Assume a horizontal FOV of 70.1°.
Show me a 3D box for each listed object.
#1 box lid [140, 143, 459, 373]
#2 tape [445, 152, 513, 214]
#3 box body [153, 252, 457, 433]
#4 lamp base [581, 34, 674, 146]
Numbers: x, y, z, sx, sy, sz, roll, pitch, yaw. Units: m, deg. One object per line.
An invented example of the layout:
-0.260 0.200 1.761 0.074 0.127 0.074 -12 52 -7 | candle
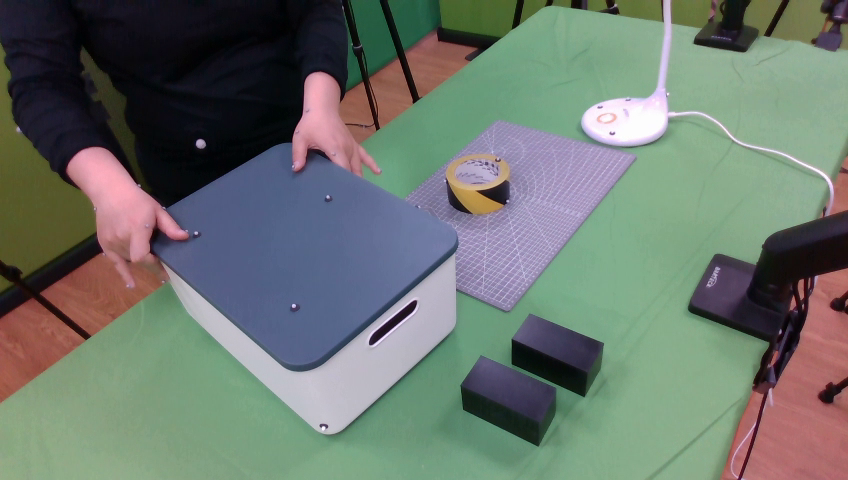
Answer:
-0.164 -0.004 0.766 0.368 0.015 0.264 29 55 33 | box lid
0.095 -0.099 1.043 0.117 0.053 0.116 -4 41 4 | tape
-0.158 0.054 0.819 0.361 0.161 0.255 29 52 34 | box body
0.392 -0.291 1.129 0.180 0.181 0.159 -11 41 -8 | lamp base
